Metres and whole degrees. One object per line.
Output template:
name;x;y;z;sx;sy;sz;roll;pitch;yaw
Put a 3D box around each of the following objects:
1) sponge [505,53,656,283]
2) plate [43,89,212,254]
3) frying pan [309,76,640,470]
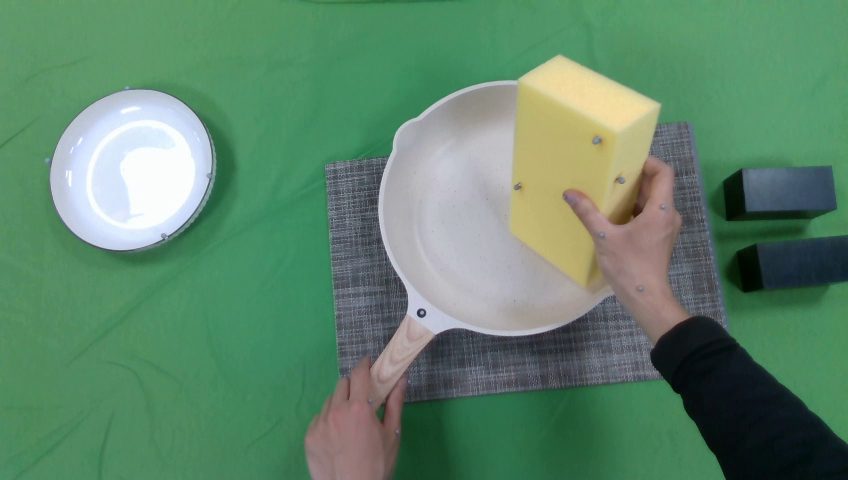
sponge;0.149;-0.068;0.622;0.061;0.209;0.117;-35;53;-25
plate;-0.362;-0.083;0.755;0.207;0.039;0.207;0;80;3
frying pan;0.031;0.040;0.673;0.306;0.103;0.487;36;76;10
